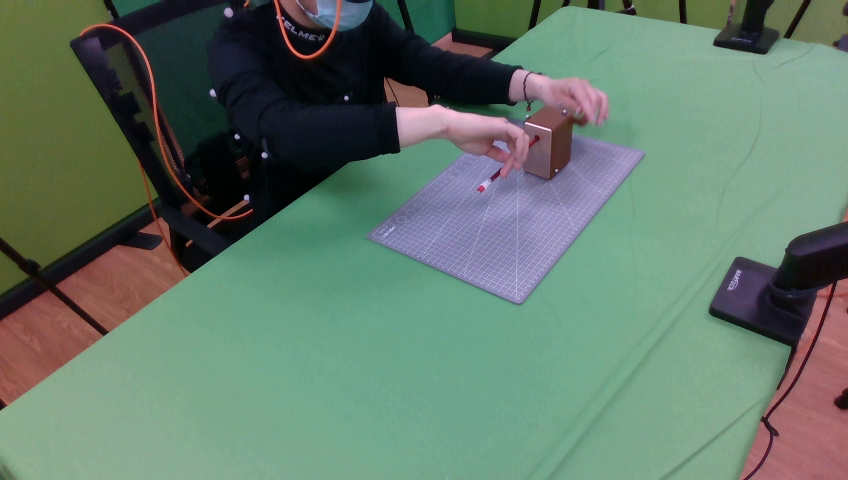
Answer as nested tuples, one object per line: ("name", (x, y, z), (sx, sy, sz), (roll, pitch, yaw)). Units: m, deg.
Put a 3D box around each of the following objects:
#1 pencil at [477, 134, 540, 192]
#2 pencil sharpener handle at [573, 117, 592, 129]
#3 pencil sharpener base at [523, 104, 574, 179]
("pencil", (0.148, -0.134, 0.996), (0.012, 0.012, 0.194), (26, 53, 32))
("pencil sharpener handle", (0.263, -0.217, 1.074), (0.067, 0.036, 0.031), (30, 52, 26))
("pencil sharpener base", (0.221, -0.175, 1.071), (0.061, 0.107, 0.077), (25, 50, 32))
